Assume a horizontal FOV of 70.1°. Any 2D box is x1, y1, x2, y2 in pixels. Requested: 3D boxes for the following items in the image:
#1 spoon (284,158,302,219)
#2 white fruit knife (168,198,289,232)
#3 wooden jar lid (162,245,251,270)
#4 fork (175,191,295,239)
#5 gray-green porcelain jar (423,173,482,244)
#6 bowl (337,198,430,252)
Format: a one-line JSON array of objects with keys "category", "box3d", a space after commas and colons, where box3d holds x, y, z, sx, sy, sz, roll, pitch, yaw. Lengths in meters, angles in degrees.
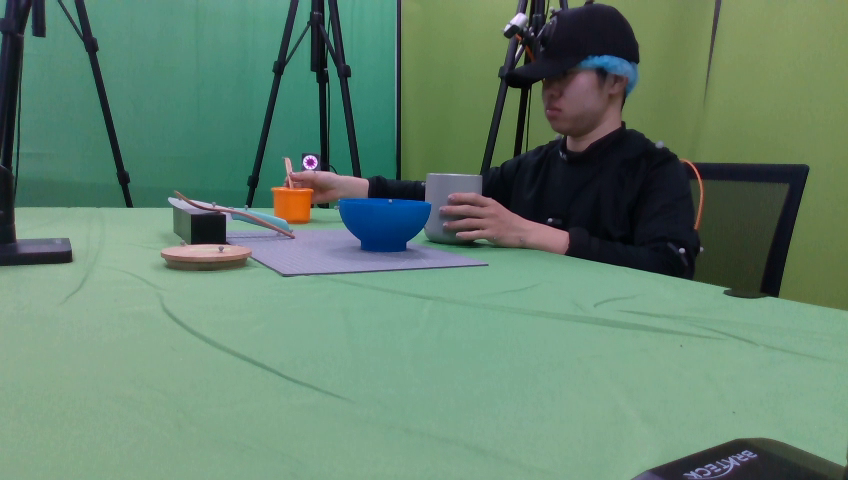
[{"category": "spoon", "box3d": [-0.301, -0.119, 1.369, 0.042, 0.193, 0.021, 6, -39, -26]}, {"category": "white fruit knife", "box3d": [-0.329, -0.044, 1.036, 0.208, 0.027, 0.016, 14, -1, -32]}, {"category": "wooden jar lid", "box3d": [-0.278, 0.022, 0.777, 0.108, 0.020, 0.108, 2, 6, 0]}, {"category": "fork", "box3d": [-0.305, -0.039, 0.993, 0.208, 0.018, 0.028, 19, -9, -34]}, {"category": "gray-green porcelain jar", "box3d": [0.052, -0.059, 1.116, 0.106, 0.126, 0.106, 3, 8, 0]}, {"category": "bowl", "box3d": [-0.066, -0.024, 0.967, 0.151, 0.077, 0.151, 3, 7, 0]}]
